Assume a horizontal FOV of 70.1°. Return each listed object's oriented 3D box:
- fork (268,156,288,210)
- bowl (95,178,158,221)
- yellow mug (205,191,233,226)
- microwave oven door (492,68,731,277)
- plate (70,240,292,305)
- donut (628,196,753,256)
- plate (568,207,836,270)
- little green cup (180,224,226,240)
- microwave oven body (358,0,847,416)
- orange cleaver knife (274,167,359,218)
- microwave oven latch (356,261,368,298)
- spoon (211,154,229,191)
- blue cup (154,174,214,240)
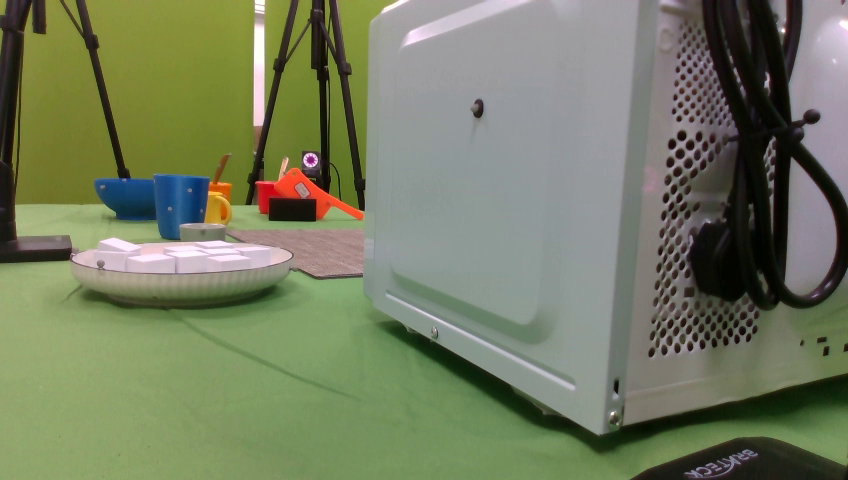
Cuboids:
[{"bbox_3d":[-0.360,-0.144,1.508,0.028,0.018,0.207,1,49,0],"label":"fork"},{"bbox_3d":[-0.576,-0.081,1.217,0.151,0.077,0.151,3,7,0],"label":"bowl"},{"bbox_3d":[-0.415,-0.057,1.132,0.130,0.064,0.100,6,8,16],"label":"yellow mug"},{"bbox_3d":[0.232,-0.098,0.836,0.039,0.243,0.354,-3,9,-36],"label":"microwave oven door"},{"bbox_3d":[-0.242,0.031,0.618,0.208,0.039,0.207,2,8,0],"label":"plate"},{"bbox_3d":[0.226,-0.012,0.518,0.099,0.048,0.099,2,7,0],"label":"donut"},{"bbox_3d":[0.229,-0.004,0.520,0.209,0.038,0.209,3,5,0],"label":"plate"},{"bbox_3d":[-0.309,-0.001,0.846,0.061,0.038,0.061,1,8,0],"label":"little green cup"},{"bbox_3d":[0.211,-0.047,0.474,0.444,0.260,0.324,-1,7,-28],"label":"microwave oven body"},{"bbox_3d":[-0.238,-0.091,1.381,0.212,0.077,0.012,31,0,-19],"label":"orange cleaver knife"},{"bbox_3d":[-0.019,0.033,0.529,0.079,0.029,0.030,0,7,-25],"label":"microwave oven latch"},{"bbox_3d":[-0.431,-0.115,1.253,0.042,0.193,0.021,-3,54,-33],"label":"spoon"},{"bbox_3d":[-0.391,-0.053,0.978,0.093,0.100,0.092,3,6,0],"label":"blue cup"}]
